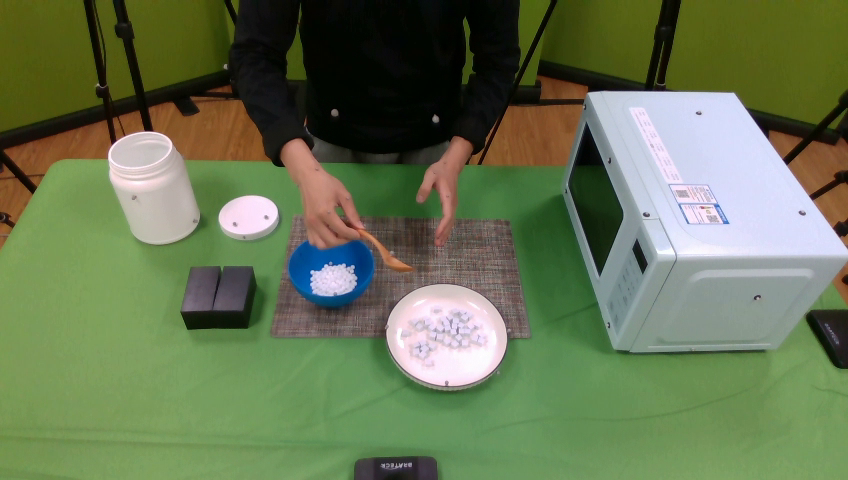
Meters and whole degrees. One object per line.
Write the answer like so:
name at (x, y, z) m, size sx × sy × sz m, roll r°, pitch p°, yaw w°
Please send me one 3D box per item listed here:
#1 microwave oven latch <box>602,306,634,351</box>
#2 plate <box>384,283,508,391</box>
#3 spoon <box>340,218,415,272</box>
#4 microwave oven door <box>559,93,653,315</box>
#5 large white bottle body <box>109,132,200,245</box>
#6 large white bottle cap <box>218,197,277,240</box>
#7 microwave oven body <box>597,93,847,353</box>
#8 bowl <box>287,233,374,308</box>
microwave oven latch at (0.332, 0.153, 1.044) m, size 0.030 × 0.029 × 0.078 m, roll 0°, pitch 45°, yaw -4°
plate at (0.036, 0.166, 1.029) m, size 0.209 × 0.038 × 0.208 m, roll 2°, pitch 49°, yaw -2°
spoon at (-0.077, 0.005, 0.948) m, size 0.021 × 0.042 × 0.192 m, roll -49°, pitch 46°, yaw -4°
microwave oven door at (0.327, -0.074, 1.123) m, size 0.039 × 0.245 × 0.353 m, roll -1°, pitch 46°, yaw -5°
large white bottle body at (-0.506, -0.097, 1.141) m, size 0.131 × 0.185 × 0.130 m, roll 2°, pitch 46°, yaw -2°
large white bottle cap at (-0.355, -0.045, 1.220) m, size 0.115 × 0.018 × 0.114 m, roll 2°, pitch 45°, yaw -2°
microwave oven body at (0.475, -0.041, 1.109) m, size 0.326 × 0.261 × 0.438 m, roll -1°, pitch 45°, yaw -4°
bowl at (-0.165, 0.068, 1.078) m, size 0.151 × 0.077 × 0.150 m, roll 3°, pitch 46°, yaw -3°
